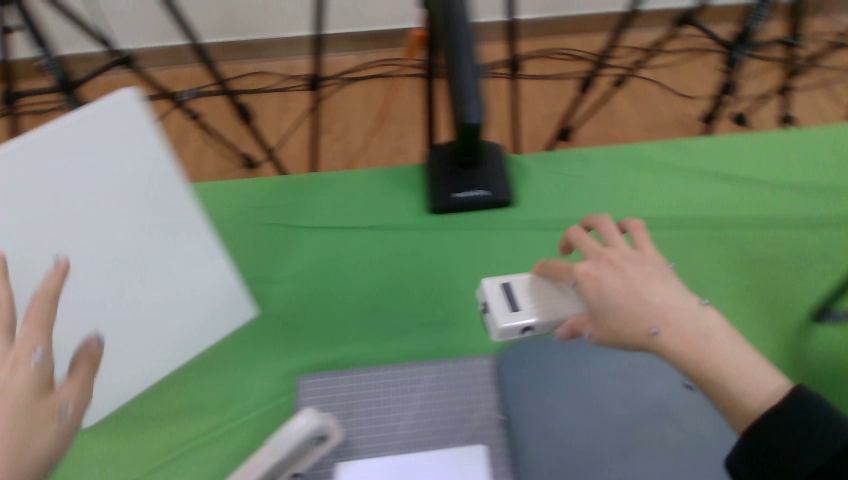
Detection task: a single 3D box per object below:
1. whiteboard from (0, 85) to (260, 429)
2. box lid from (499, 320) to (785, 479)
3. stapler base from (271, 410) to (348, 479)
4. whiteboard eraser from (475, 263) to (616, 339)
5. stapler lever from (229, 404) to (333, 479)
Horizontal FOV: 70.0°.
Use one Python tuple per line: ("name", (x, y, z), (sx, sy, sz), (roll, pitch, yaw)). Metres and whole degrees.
("whiteboard", (-0.356, 0.006, 0.649), (0.217, 0.308, 0.142), (-35, 41, -21))
("box lid", (0.231, 0.249, 0.606), (0.263, 0.015, 0.367), (-5, 54, -4))
("stapler base", (-0.140, 0.223, 0.622), (0.130, 0.025, 0.041), (-37, 57, -19))
("whiteboard eraser", (0.105, 0.054, 0.529), (0.113, 0.042, 0.055), (-6, 49, -12))
("stapler lever", (-0.143, 0.210, 0.601), (0.118, 0.040, 0.026), (-36, 57, -19))
